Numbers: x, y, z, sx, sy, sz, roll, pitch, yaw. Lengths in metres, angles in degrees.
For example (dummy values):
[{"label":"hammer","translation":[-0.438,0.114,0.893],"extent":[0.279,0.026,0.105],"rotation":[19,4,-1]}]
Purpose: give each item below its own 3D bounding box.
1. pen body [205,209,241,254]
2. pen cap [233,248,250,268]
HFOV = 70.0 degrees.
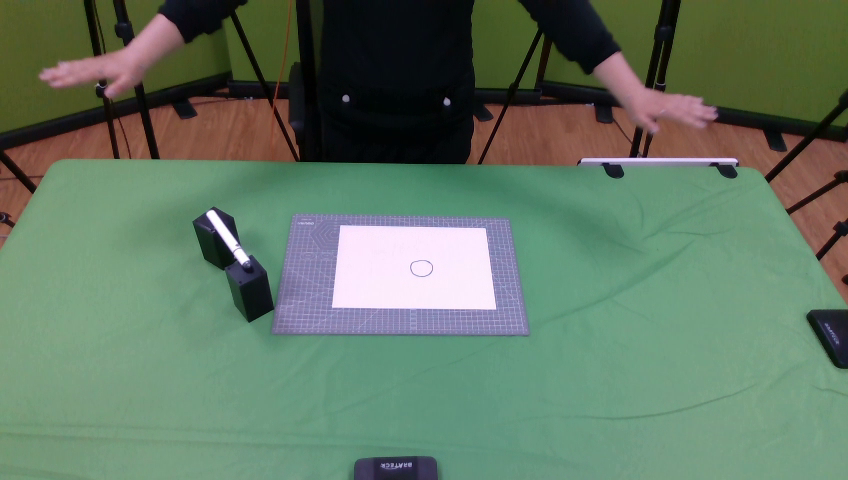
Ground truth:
[{"label":"pen body","translation":[-0.340,-0.006,1.042],"extent":[0.017,0.017,0.143],"rotation":[-27,53,-27]},{"label":"pen cap","translation":[-0.303,0.031,1.008],"extent":[0.017,0.017,0.038],"rotation":[-28,56,-28]}]
